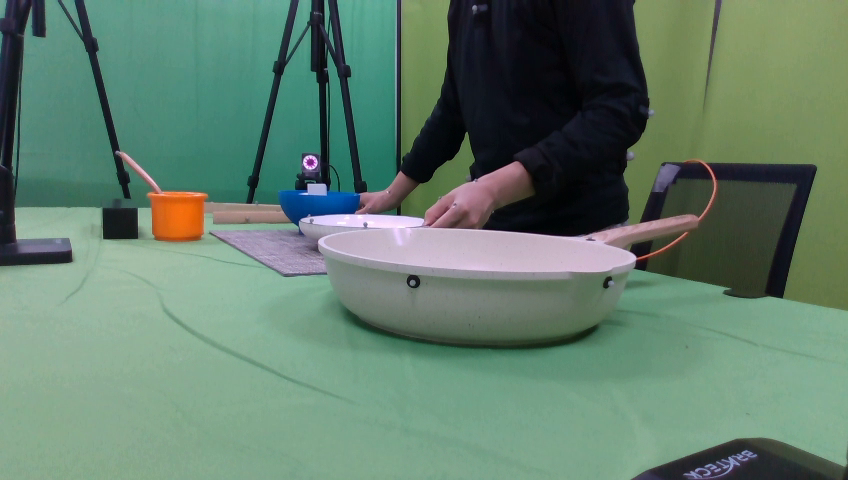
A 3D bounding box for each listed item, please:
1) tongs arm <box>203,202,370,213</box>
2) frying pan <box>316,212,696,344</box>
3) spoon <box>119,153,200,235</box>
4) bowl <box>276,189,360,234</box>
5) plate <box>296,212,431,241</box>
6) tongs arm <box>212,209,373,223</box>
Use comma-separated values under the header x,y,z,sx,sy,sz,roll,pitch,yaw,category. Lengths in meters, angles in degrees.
x,y,z,sx,sy,sz,roll,pitch,yaw,category
-0.312,-0.069,1.418,0.387,0.026,0.050,1,8,-24,tongs arm
0.133,0.013,0.629,0.490,0.102,0.305,-12,14,-31,frying pan
-0.439,-0.077,1.001,0.021,0.193,0.042,-43,-6,22,spoon
-0.195,-0.051,1.114,0.151,0.077,0.151,2,7,0,bowl
-0.094,-0.015,0.946,0.208,0.039,0.207,2,8,0,plate
-0.275,-0.055,1.348,0.390,0.028,0.028,-2,6,-36,tongs arm
